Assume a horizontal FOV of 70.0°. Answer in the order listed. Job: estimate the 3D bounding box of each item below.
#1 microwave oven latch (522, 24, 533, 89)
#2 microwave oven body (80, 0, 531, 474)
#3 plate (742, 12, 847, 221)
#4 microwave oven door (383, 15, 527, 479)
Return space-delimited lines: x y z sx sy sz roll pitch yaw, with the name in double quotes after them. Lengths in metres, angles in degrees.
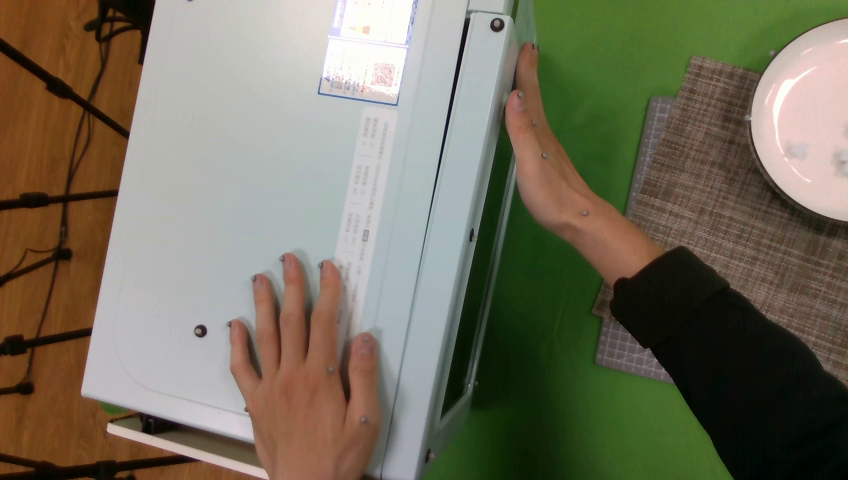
0.100 -0.196 0.663 0.030 0.029 0.079 10 90 13 "microwave oven latch"
-0.096 -0.055 0.600 0.325 0.261 0.441 10 90 12 "microwave oven body"
0.426 -0.119 0.600 0.208 0.038 0.208 -1 86 12 "plate"
0.038 0.012 0.561 0.039 0.245 0.355 11 89 14 "microwave oven door"
